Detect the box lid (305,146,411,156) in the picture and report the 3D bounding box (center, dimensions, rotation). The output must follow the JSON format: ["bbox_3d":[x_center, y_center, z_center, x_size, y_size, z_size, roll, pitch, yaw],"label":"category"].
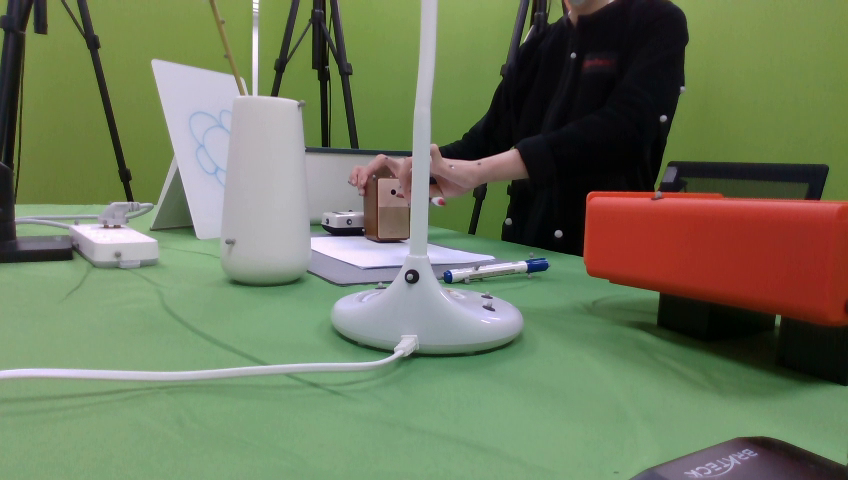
[{"bbox_3d":[-0.229,-0.200,1.361,0.373,0.015,0.262,-3,9,-32],"label":"box lid"}]

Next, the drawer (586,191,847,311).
[{"bbox_3d":[0.281,0.000,0.513,0.195,0.073,0.210,-1,7,-29],"label":"drawer"}]

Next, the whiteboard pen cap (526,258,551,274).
[{"bbox_3d":[0.141,0.033,0.758,0.033,0.018,0.018,-8,11,-27],"label":"whiteboard pen cap"}]

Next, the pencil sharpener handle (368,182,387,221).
[{"bbox_3d":[-0.086,-0.068,1.079,0.036,0.067,0.030,-6,5,-25],"label":"pencil sharpener handle"}]

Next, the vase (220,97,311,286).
[{"bbox_3d":[-0.172,-0.052,0.662,0.098,0.200,0.098,3,9,0],"label":"vase"}]

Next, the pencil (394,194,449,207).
[{"bbox_3d":[-0.009,-0.061,0.899,0.012,0.012,0.193,-1,7,-25],"label":"pencil"}]

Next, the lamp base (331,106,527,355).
[{"bbox_3d":[0.006,-0.012,0.478,0.161,0.180,0.179,2,10,2],"label":"lamp base"}]

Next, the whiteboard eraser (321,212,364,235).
[{"bbox_3d":[-0.128,-0.031,1.108,0.113,0.042,0.055,-3,7,-38],"label":"whiteboard eraser"}]

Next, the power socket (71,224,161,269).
[{"bbox_3d":[-0.408,0.004,0.793,0.072,0.032,0.225,-2,8,-38],"label":"power socket"}]

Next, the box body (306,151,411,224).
[{"bbox_3d":[-0.230,-0.126,1.371,0.366,0.160,0.253,-2,8,-33],"label":"box body"}]

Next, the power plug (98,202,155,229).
[{"bbox_3d":[-0.416,-0.027,0.848,0.073,0.052,0.035,0,8,-28],"label":"power plug"}]

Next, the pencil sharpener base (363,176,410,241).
[{"bbox_3d":[-0.065,-0.054,1.034,0.061,0.107,0.076,-3,4,-25],"label":"pencil sharpener base"}]

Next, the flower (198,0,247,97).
[{"bbox_3d":[-0.187,-0.133,0.648,0.038,0.362,0.044,0,22,43],"label":"flower"}]

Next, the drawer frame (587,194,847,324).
[{"bbox_3d":[0.285,0.004,0.508,0.203,0.082,0.212,-1,6,-29],"label":"drawer frame"}]

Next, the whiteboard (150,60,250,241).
[{"bbox_3d":[-0.408,-0.139,1.093,0.143,0.305,0.218,-15,-1,26],"label":"whiteboard"}]

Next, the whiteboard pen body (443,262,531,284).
[{"bbox_3d":[0.087,0.038,0.733,0.141,0.017,0.017,-5,10,-27],"label":"whiteboard pen body"}]
